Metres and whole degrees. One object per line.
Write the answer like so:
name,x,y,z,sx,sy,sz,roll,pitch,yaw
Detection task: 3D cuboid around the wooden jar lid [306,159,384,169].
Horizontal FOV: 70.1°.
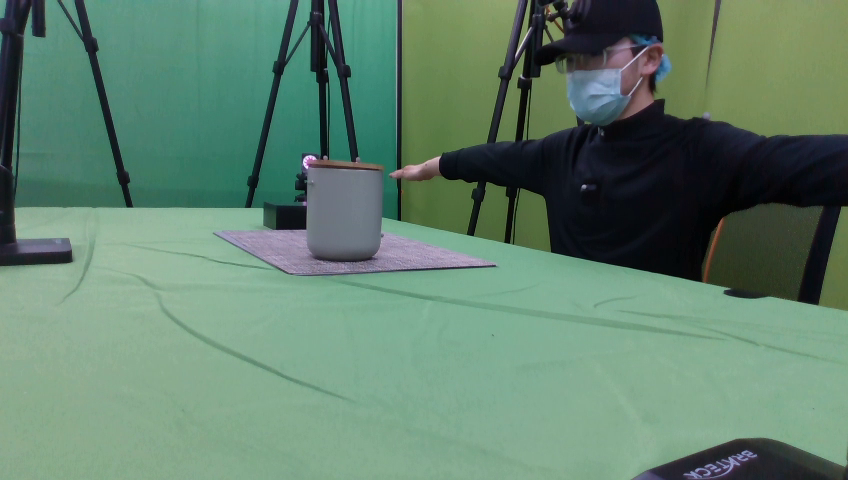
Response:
wooden jar lid,-0.110,-0.100,0.840,0.108,0.020,0.108,4,4,0

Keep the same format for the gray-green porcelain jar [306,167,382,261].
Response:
gray-green porcelain jar,-0.112,-0.039,0.849,0.106,0.126,0.106,2,7,0
